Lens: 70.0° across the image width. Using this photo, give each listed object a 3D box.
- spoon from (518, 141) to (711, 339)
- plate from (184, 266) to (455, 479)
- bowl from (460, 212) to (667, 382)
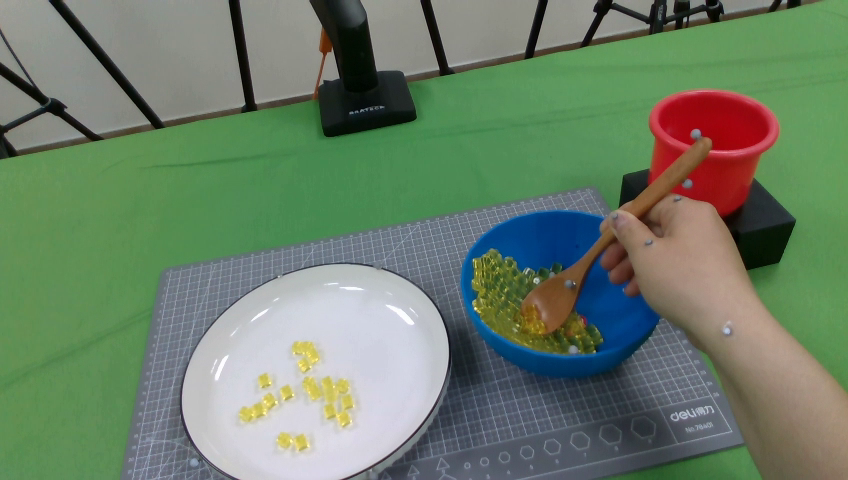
[{"bbox_3d":[0.131,0.005,0.435,0.022,0.194,0.041,11,40,-32],"label":"spoon"},{"bbox_3d":[-0.078,0.106,0.477,0.207,0.039,0.205,-4,43,4],"label":"plate"},{"bbox_3d":[0.105,0.056,0.473,0.151,0.077,0.150,-4,43,4],"label":"bowl"}]
